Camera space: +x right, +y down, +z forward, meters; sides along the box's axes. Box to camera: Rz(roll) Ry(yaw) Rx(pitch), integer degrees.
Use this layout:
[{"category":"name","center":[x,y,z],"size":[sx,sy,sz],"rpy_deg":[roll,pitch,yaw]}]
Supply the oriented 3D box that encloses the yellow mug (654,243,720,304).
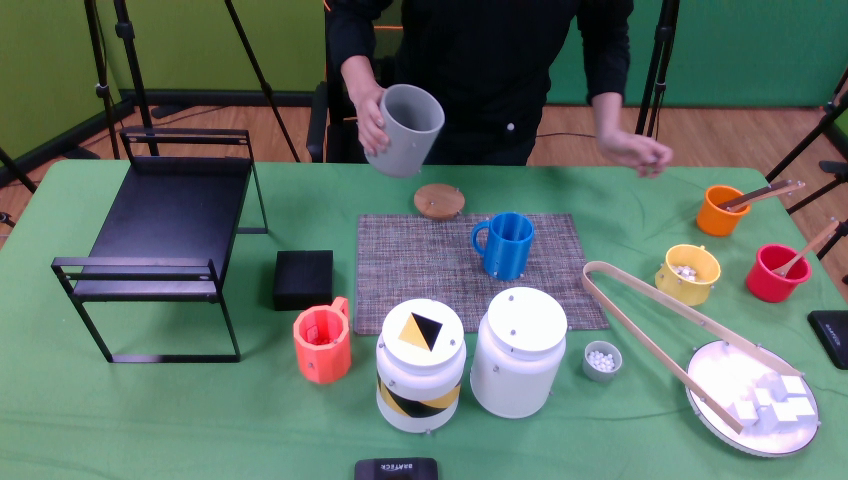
[{"category":"yellow mug","center":[0.504,0.054,1.154],"size":[0.099,0.064,0.130],"rpy_deg":[28,50,22]}]

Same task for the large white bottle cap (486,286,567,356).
[{"category":"large white bottle cap","center":[0.147,0.114,0.869],"size":[0.115,0.018,0.114],"rpy_deg":[3,46,-3]}]

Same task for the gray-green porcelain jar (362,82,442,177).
[{"category":"gray-green porcelain jar","center":[-0.041,-0.175,0.994],"size":[0.106,0.127,0.105],"rpy_deg":[12,53,-16]}]

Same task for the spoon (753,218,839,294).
[{"category":"spoon","center":[0.700,0.031,1.138],"size":[0.194,0.022,0.041],"rpy_deg":[-47,55,14]}]

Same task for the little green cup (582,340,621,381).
[{"category":"little green cup","center":[0.295,0.204,1.014],"size":[0.061,0.039,0.061],"rpy_deg":[2,45,-2]}]

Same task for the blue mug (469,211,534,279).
[{"category":"blue mug","center":[0.141,0.005,1.140],"size":[0.116,0.106,0.082],"rpy_deg":[18,48,13]}]

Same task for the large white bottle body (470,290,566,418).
[{"category":"large white bottle body","center":[0.143,0.173,0.930],"size":[0.131,0.185,0.130],"rpy_deg":[2,47,-2]}]

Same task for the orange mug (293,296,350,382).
[{"category":"orange mug","center":[-0.158,0.154,0.985],"size":[0.083,0.101,0.125],"rpy_deg":[17,52,11]}]

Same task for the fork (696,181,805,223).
[{"category":"fork","center":[0.659,-0.077,1.231],"size":[0.207,0.019,0.028],"rpy_deg":[-26,35,34]}]

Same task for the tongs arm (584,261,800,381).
[{"category":"tongs arm","center":[0.452,0.137,1.064],"size":[0.051,0.027,0.382],"rpy_deg":[-34,50,-27]}]

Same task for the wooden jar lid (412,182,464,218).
[{"category":"wooden jar lid","center":[0.029,-0.082,1.276],"size":[0.108,0.021,0.107],"rpy_deg":[3,43,-3]}]

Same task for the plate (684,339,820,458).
[{"category":"plate","center":[0.523,0.256,0.982],"size":[0.208,0.039,0.206],"rpy_deg":[2,46,-2]}]

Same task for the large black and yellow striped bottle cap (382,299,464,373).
[{"category":"large black and yellow striped bottle cap","center":[-0.002,0.132,0.843],"size":[0.115,0.019,0.114],"rpy_deg":[2,46,-1]}]

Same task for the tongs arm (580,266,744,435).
[{"category":"tongs arm","center":[0.384,0.173,1.028],"size":[0.028,0.028,0.385],"rpy_deg":[-25,46,-15]}]

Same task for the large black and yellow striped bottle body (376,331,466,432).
[{"category":"large black and yellow striped bottle body","center":[-0.007,0.189,0.905],"size":[0.131,0.185,0.130],"rpy_deg":[2,47,-2]}]

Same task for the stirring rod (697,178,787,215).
[{"category":"stirring rod","center":[0.650,-0.088,1.245],"size":[0.006,0.176,0.014],"rpy_deg":[29,49,-39]}]
